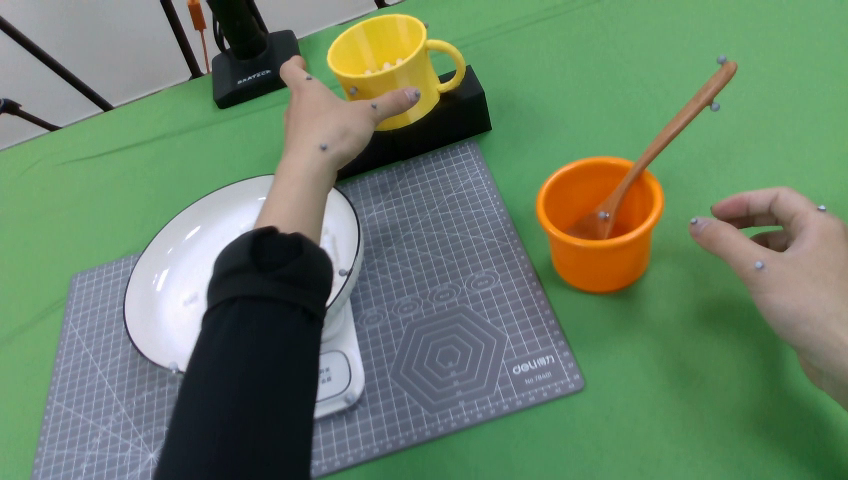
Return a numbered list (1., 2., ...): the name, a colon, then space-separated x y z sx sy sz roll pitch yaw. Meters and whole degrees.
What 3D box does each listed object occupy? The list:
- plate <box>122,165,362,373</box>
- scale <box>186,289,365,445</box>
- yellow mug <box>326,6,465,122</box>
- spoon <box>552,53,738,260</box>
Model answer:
1. plate: -0.150 0.022 0.518 0.209 0.038 0.207 -8 51 10
2. scale: -0.136 0.063 0.524 0.148 0.032 0.198 -19 50 2
3. yellow mug: -0.024 -0.175 0.596 0.130 0.064 0.099 -1 53 15
4. spoon: 0.161 -0.056 0.456 0.022 0.194 0.041 13 37 -29
